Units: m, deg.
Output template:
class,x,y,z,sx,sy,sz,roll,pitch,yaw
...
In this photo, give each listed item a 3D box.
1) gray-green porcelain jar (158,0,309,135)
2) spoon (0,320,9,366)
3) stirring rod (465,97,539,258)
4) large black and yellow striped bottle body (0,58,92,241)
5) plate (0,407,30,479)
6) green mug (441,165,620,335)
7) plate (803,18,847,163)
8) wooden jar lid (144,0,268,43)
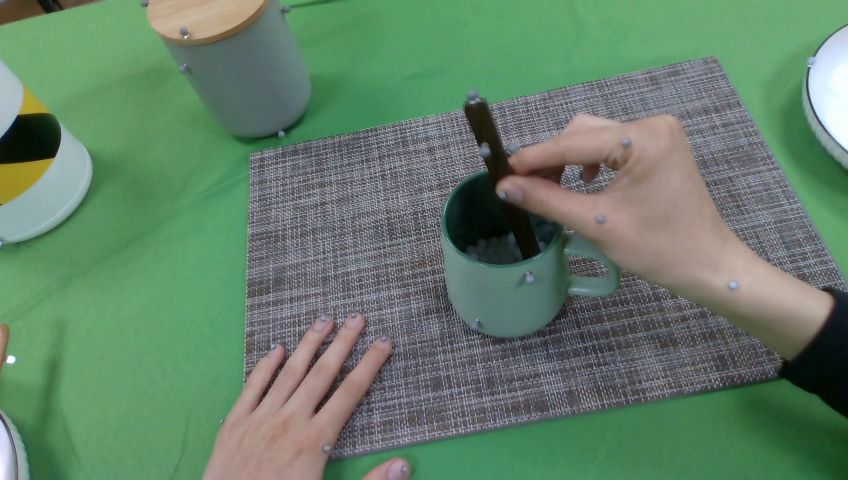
class,x,y,z,sx,sy,sz,roll,pitch,yaw
gray-green porcelain jar,-0.171,-0.170,0.565,0.106,0.128,0.105,-4,59,7
spoon,-0.319,0.147,0.433,0.041,0.022,0.192,-9,67,2
stirring rod,0.055,-0.027,0.385,0.014,0.178,0.005,-11,55,15
large black and yellow striped bottle body,-0.403,-0.097,0.525,0.130,0.186,0.129,-4,59,7
plate,-0.373,0.207,0.424,0.209,0.038,0.207,-4,59,7
green mug,0.073,0.012,0.424,0.125,0.106,0.092,8,60,14
plate,0.414,-0.109,0.483,0.207,0.039,0.205,-4,59,7
wooden jar lid,-0.180,-0.203,0.513,0.108,0.021,0.107,-3,62,7
